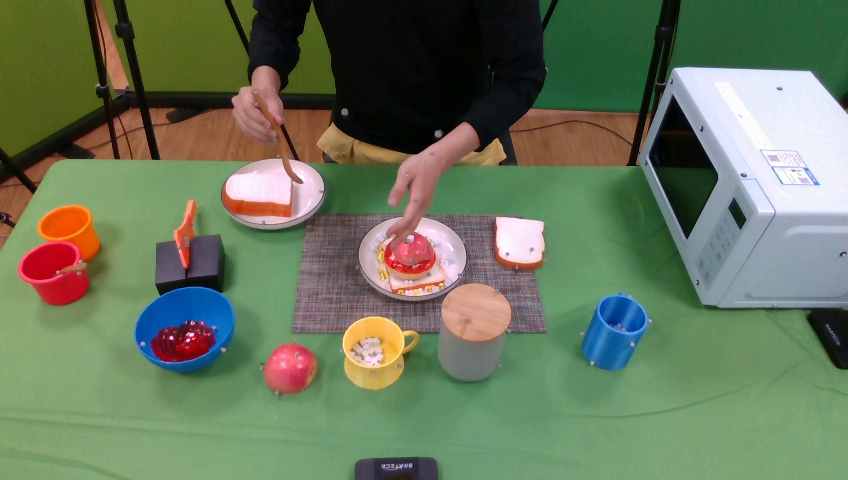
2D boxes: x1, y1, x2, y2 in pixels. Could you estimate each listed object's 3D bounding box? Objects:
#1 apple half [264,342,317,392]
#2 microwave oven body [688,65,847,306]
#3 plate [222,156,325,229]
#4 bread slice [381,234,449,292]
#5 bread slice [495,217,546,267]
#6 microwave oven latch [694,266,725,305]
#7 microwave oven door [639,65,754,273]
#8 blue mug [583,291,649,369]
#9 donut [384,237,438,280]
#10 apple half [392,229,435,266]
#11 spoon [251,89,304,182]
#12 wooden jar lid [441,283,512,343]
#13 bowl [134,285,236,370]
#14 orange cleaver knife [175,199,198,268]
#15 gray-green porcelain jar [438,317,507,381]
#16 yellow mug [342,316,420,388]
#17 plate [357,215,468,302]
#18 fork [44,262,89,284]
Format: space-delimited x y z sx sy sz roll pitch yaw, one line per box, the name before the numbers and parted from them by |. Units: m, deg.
apple half | -0.214 0.198 0.970 0.074 0.053 0.080 19 48 10
microwave oven body | 0.669 -0.111 1.176 0.326 0.261 0.439 0 46 -3
plate | -0.308 -0.095 1.251 0.209 0.038 0.208 3 46 -3
bread slice | -0.026 0.039 1.140 0.107 0.018 0.133 -12 48 -16
bread slice | 0.194 0.003 1.205 0.105 0.019 0.131 5 44 3
microwave oven latch | 0.523 0.082 1.115 0.030 0.029 0.078 3 46 0
microwave oven door | 0.522 -0.147 1.192 0.039 0.245 0.353 0 47 -3
blue mug | 0.324 0.142 1.023 0.082 0.106 0.116 15 47 11
donut | -0.025 0.029 1.110 0.099 0.048 0.098 2 46 -2
apple half | -0.020 0.005 1.083 0.081 0.033 0.081 6 48 -6
spoon | -0.241 -0.169 1.003 0.021 0.195 0.041 -29 45 -14
wooden jar lid | 0.080 0.114 0.931 0.108 0.021 0.107 1 49 0
bowl | -0.377 0.155 0.981 0.151 0.077 0.150 2 46 -2
orange cleaver knife | -0.438 -0.017 1.138 0.012 0.077 0.210 -14 27 -7
gray-green porcelain jar | 0.076 0.158 0.977 0.106 0.127 0.105 2 47 -2
yellow mug | -0.067 0.177 0.991 0.131 0.064 0.099 -16 50 -19
plate | -0.022 0.037 1.141 0.208 0.039 0.206 2 46 -2
fork | -0.599 0.053 1.014 0.207 0.019 0.028 -14 29 45
